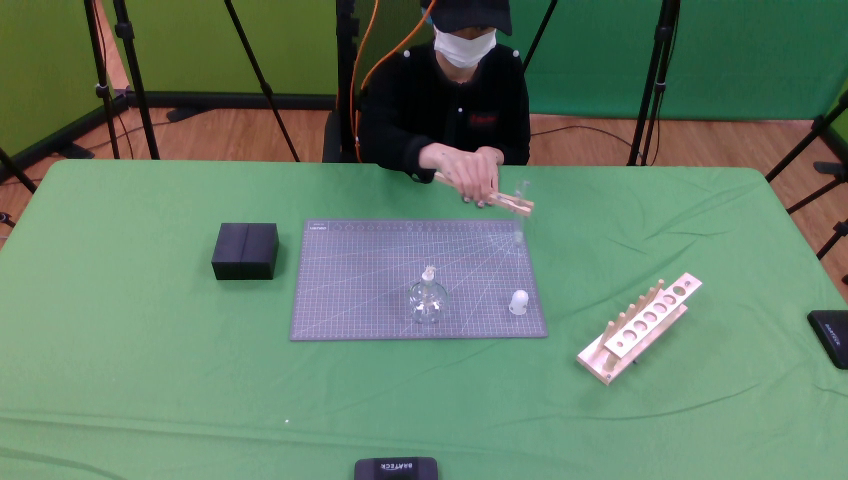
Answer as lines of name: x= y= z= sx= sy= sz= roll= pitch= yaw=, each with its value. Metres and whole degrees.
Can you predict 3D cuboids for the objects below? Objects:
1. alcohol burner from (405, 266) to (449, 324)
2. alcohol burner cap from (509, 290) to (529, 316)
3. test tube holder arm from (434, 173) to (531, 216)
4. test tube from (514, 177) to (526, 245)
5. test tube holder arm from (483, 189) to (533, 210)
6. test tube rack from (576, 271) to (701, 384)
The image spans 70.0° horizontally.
alcohol burner: x=0.005 y=0.089 z=1.043 sx=0.078 sy=0.120 sz=0.077 roll=1 pitch=45 yaw=-1
alcohol burner cap: x=0.171 y=0.110 z=1.086 sx=0.034 sy=0.048 sz=0.033 roll=2 pitch=45 yaw=-2
test tube holder arm: x=0.095 y=-0.078 z=1.016 sx=0.178 sy=0.015 sz=0.013 roll=22 pitch=50 yaw=19
test tube: x=0.159 y=-0.045 z=1.010 sx=0.017 sy=0.151 sz=0.017 roll=-3 pitch=48 yaw=4
test tube holder arm: x=0.138 y=-0.068 z=1.006 sx=0.087 sy=0.015 sz=0.010 roll=16 pitch=49 yaw=14
test tube rack: x=0.373 y=0.138 z=1.047 sx=0.242 sy=0.085 sz=0.066 roll=-31 pitch=56 yaw=-29
